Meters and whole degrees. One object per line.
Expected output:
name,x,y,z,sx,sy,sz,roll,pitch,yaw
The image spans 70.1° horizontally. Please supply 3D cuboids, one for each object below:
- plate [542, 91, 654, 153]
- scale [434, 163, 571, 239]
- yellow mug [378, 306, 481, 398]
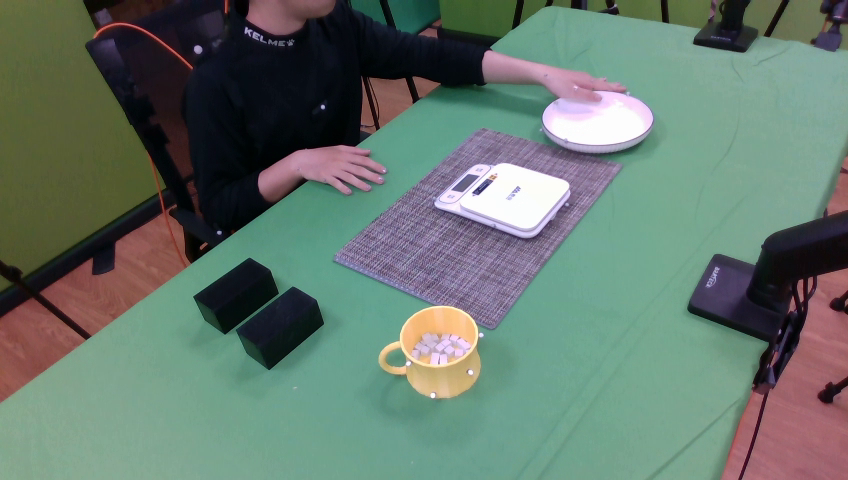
plate,0.334,-0.224,1.171,0.209,0.038,0.208,-4,40,4
scale,0.132,-0.075,1.025,0.199,0.032,0.149,22,48,30
yellow mug,0.006,0.144,0.766,0.131,0.064,0.099,-10,40,-2
